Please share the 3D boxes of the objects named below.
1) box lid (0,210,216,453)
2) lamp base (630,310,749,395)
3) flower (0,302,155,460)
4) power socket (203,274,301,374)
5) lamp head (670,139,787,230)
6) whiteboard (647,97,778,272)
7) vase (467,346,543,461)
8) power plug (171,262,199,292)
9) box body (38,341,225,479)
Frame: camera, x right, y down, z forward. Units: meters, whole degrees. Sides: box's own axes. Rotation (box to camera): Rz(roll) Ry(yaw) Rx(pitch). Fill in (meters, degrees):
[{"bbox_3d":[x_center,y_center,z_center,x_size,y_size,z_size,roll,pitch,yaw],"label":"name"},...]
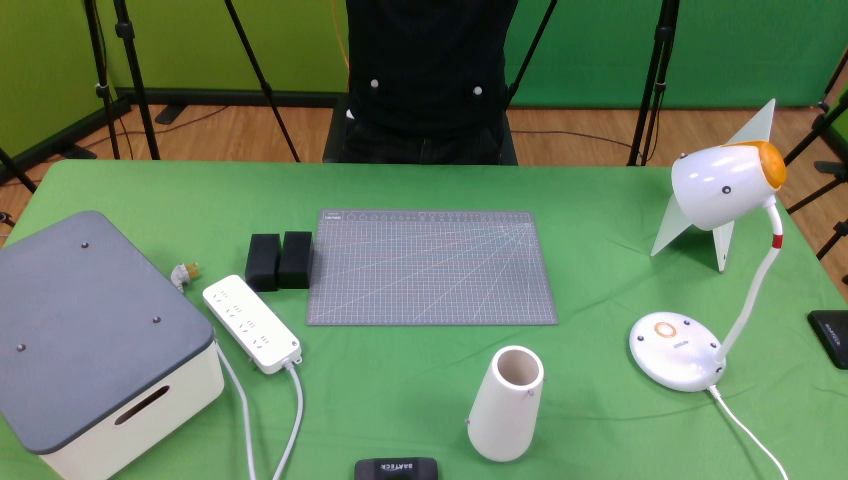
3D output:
[{"bbox_3d":[-0.504,0.102,0.863,0.369,0.015,0.263,35,53,26],"label":"box lid"},{"bbox_3d":[0.447,0.142,0.984,0.161,0.181,0.178,-24,55,-24],"label":"lamp base"},{"bbox_3d":[-0.553,0.222,0.944,0.361,0.038,0.044,39,62,6],"label":"flower"},{"bbox_3d":[-0.297,0.140,1.035,0.072,0.033,0.225,-32,57,-29],"label":"power socket"},{"bbox_3d":[0.415,-0.079,0.812,0.113,0.123,0.112,13,70,-37],"label":"lamp head"},{"bbox_3d":[0.602,-0.079,1.162,0.144,0.306,0.216,35,51,2],"label":"whiteboard"},{"bbox_3d":[0.116,0.234,0.861,0.098,0.201,0.097,1,47,-1],"label":"vase"},{"bbox_3d":[-0.428,0.075,1.100,0.053,0.035,0.072,-21,90,-24],"label":"power plug"},{"bbox_3d":[-0.506,0.155,0.916,0.362,0.161,0.254,35,54,26],"label":"box body"}]
